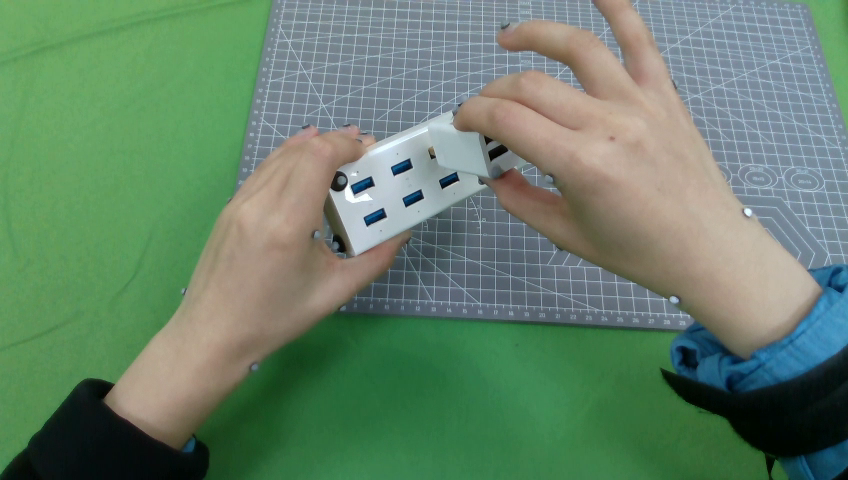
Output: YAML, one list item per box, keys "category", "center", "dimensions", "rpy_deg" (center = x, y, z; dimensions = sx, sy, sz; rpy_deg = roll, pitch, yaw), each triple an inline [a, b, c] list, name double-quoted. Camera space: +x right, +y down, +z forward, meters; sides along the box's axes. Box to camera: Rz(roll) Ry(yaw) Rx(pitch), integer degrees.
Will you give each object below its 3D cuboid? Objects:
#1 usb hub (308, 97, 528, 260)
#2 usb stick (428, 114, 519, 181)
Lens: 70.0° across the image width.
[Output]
- category: "usb hub"
  center: [0.000, -0.038, 0.345]
  dimensions: [0.125, 0.025, 0.050]
  rpy_deg: [-28, 108, -24]
- category: "usb stick"
  center: [0.021, -0.049, 0.310]
  dimensions: [0.021, 0.027, 0.058]
  rpy_deg: [-30, 26, -23]
